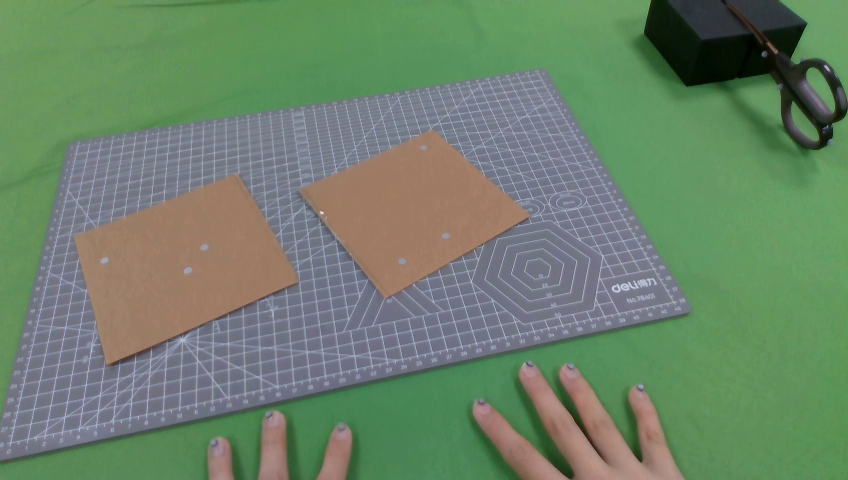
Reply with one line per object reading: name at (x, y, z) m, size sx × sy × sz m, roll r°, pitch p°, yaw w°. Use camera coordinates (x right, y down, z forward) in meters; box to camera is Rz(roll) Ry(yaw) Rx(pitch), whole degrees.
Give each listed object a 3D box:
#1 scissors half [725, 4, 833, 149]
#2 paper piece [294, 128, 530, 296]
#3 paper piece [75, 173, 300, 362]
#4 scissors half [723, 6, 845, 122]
scissors half at (0.307, -0.150, 0.538) m, size 0.013 × 0.040 × 0.173 m, roll -15°, pitch 64°, yaw -1°
paper piece at (-0.011, -0.031, 0.483) m, size 0.138 × 0.009 × 0.134 m, roll -27°, pitch 58°, yaw -21°
paper piece at (-0.180, 0.012, 0.452) m, size 0.136 × 0.004 × 0.134 m, roll -24°, pitch 52°, yaw -18°
scissors half at (0.303, -0.161, 0.522) m, size 0.013 × 0.040 × 0.173 m, roll -18°, pitch 46°, yaw 3°
